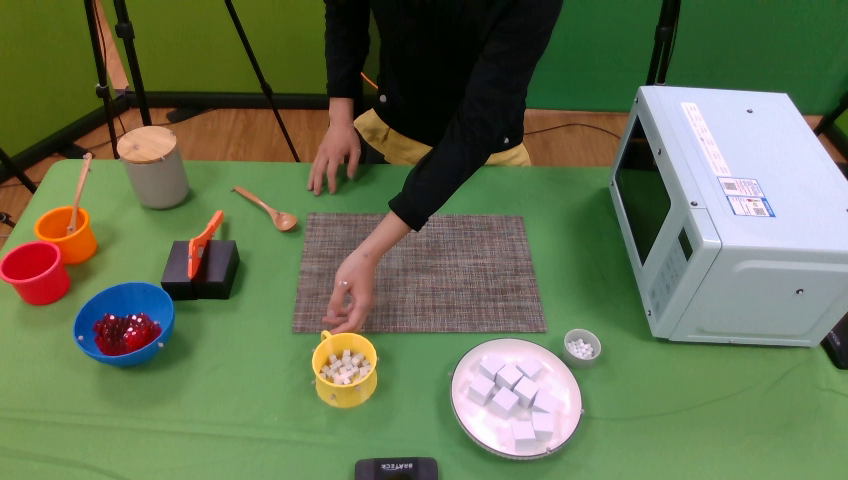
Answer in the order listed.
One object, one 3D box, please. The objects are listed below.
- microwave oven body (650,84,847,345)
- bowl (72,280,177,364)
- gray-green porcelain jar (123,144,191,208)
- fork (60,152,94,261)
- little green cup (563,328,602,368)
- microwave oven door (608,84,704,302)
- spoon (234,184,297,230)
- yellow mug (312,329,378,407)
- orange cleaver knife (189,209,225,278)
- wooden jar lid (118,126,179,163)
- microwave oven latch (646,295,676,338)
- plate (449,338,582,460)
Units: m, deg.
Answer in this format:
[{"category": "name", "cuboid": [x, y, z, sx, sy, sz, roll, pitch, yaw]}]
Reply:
[{"category": "microwave oven body", "cuboid": [0.569, -0.054, 1.115, 0.326, 0.261, 0.439, 2, 46, -1]}, {"category": "bowl", "cuboid": [-0.472, 0.147, 0.982, 0.151, 0.077, 0.150, 2, 46, -2]}, {"category": "gray-green porcelain jar", "cuboid": [-0.531, -0.137, 1.213, 0.106, 0.127, 0.105, 2, 47, -2]}, {"category": "fork", "cuboid": [-0.638, -0.063, 1.119, 0.028, 0.018, 0.207, 12, 90, 6]}, {"category": "little green cup", "cuboid": [0.265, 0.184, 1.025, 0.061, 0.039, 0.061, 1, 46, -1]}, {"category": "microwave oven door", "cuboid": [0.424, -0.096, 1.138, 0.039, 0.245, 0.353, 3, 46, -1]}, {"category": "spoon", "cuboid": [-0.327, -0.073, 1.240, 0.193, 0.022, 0.041, 34, 72, 25]}, {"category": "yellow mug", "cuboid": [-0.133, 0.194, 0.970, 0.100, 0.064, 0.130, -25, 52, -24]}, {"category": "orange cleaver knife", "cuboid": [-0.400, 0.002, 1.122, 0.012, 0.077, 0.210, 4, 23, -4]}, {"category": "wooden jar lid", "cuboid": [-0.528, -0.181, 1.167, 0.108, 0.021, 0.107, 3, 47, -3]}, {"category": "microwave oven latch", "cuboid": [0.413, 0.133, 1.060, 0.030, 0.029, 0.078, 4, 46, 1]}, {"category": "plate", "cuboid": [0.141, 0.251, 0.955, 0.208, 0.039, 0.206, 2, 46, -2]}]
